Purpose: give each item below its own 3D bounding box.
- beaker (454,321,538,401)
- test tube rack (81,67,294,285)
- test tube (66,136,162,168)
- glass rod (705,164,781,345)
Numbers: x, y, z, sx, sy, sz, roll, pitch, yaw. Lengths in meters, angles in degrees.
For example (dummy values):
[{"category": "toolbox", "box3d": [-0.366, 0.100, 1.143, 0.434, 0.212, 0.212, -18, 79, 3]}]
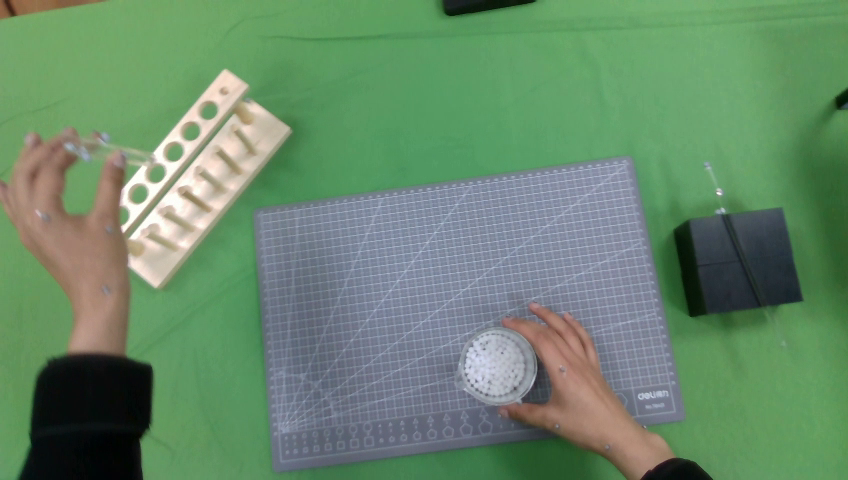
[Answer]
[{"category": "beaker", "box3d": [0.071, 0.127, 0.624, 0.084, 0.100, 0.073, -24, 78, -1]}, {"category": "test tube rack", "box3d": [-0.260, -0.069, 0.685, 0.066, 0.085, 0.242, 37, 83, 10]}, {"category": "test tube", "box3d": [-0.260, -0.074, 0.520, 0.017, 0.150, 0.017, 0, 94, -2]}, {"category": "glass rod", "box3d": [0.332, 0.013, 0.632, 0.008, 0.008, 0.199, -17, 80, 0]}]
